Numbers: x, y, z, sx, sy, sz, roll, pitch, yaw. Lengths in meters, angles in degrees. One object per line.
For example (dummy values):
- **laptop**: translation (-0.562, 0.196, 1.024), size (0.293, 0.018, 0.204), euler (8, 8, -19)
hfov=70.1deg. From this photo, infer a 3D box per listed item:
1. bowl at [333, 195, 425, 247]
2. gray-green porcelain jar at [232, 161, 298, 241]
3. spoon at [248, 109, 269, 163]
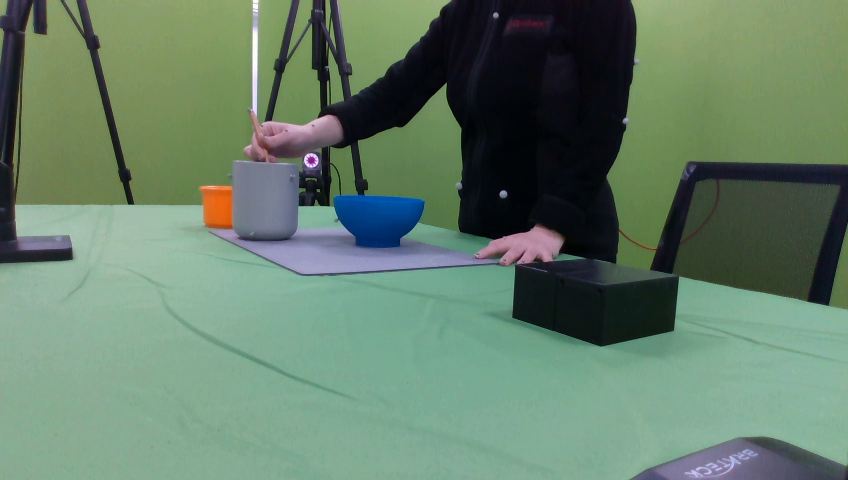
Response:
- **bowl**: translation (-0.074, -0.031, 0.987), size (0.151, 0.077, 0.151), euler (2, 7, 0)
- **gray-green porcelain jar**: translation (-0.263, -0.065, 0.999), size (0.106, 0.126, 0.106), euler (3, 7, 0)
- **spoon**: translation (-0.264, -0.125, 1.003), size (0.021, 0.193, 0.042), euler (-13, -4, 19)
